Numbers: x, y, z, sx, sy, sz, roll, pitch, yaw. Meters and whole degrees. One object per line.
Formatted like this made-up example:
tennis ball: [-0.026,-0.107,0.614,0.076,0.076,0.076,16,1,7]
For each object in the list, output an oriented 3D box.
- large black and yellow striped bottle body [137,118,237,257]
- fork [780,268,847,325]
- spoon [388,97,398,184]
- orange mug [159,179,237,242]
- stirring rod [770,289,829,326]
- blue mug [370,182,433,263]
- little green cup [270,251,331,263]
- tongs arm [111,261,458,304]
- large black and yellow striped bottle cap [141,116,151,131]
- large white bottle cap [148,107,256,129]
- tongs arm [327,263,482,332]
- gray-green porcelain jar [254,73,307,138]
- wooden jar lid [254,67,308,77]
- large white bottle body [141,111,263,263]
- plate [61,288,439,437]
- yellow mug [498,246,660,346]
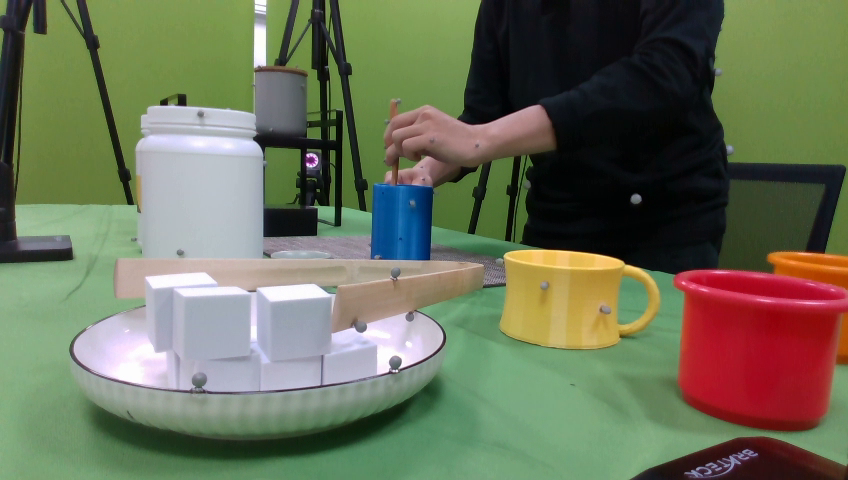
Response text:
large black and yellow striped bottle body: [-0.330,-0.075,0.849,0.131,0.184,0.130,2,8,0]
fork: [0.324,0.018,0.441,0.028,0.018,0.207,-3,-36,-5]
spoon: [-0.044,-0.094,0.816,0.022,0.193,0.041,2,1,-41]
orange mug: [-0.368,-0.051,0.991,0.127,0.101,0.083,-10,14,-41]
stirring rod: [0.349,0.022,0.468,0.014,0.006,0.175,-12,-26,-50]
blue mug: [-0.026,-0.026,0.836,0.082,0.106,0.117,4,7,15]
little green cup: [-0.129,0.034,0.629,0.061,0.038,0.061,3,7,0]
tongs arm: [-0.080,0.032,0.527,0.028,0.027,0.389,-3,-3,33]
large black and yellow striped bottle cap: [-0.328,-0.158,0.837,0.115,0.019,0.115,2,6,0]
large white bottle cap: [-0.250,-0.137,0.686,0.115,0.018,0.115,3,8,0]
tongs arm: [-0.003,0.036,0.493,0.050,0.026,0.386,1,-1,19]
gray-green porcelain jar: [-0.298,-0.277,1.259,0.106,0.126,0.106,3,7,0]
wooden jar lid: [-0.296,-0.339,1.251,0.108,0.020,0.108,1,7,0]
large white bottle body: [-0.254,-0.053,0.697,0.131,0.184,0.130,2,7,0]
plate: [-0.095,0.069,0.362,0.208,0.039,0.207,3,7,0]
yellow mug: [0.130,0.045,0.508,0.131,0.064,0.100,4,7,6]
